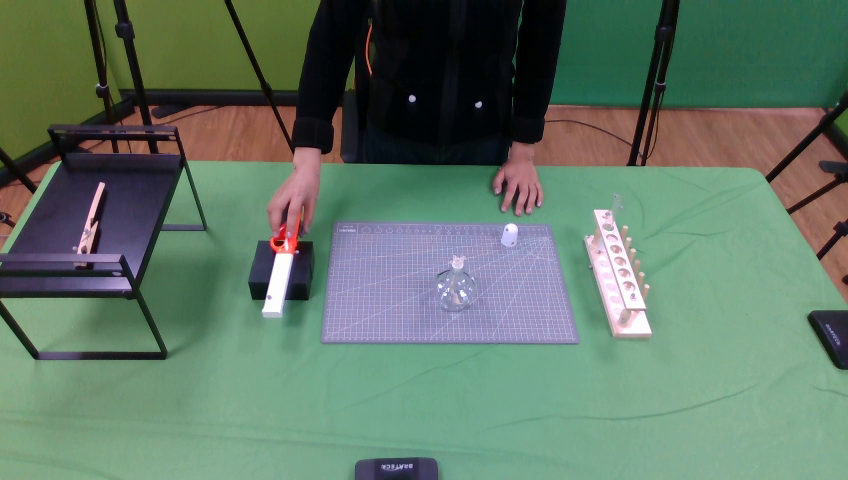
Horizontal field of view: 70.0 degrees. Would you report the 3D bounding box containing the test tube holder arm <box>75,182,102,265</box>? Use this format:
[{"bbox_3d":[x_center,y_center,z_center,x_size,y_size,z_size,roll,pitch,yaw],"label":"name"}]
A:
[{"bbox_3d":[-0.518,-0.030,0.937,0.013,0.015,0.177,25,33,-37],"label":"test tube holder arm"}]

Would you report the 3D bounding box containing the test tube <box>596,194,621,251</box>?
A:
[{"bbox_3d":[0.346,-0.029,1.141,0.017,0.151,0.017,0,50,0],"label":"test tube"}]

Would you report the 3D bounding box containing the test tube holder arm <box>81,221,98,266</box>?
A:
[{"bbox_3d":[-0.503,0.004,0.910,0.010,0.015,0.087,26,32,-36],"label":"test tube holder arm"}]

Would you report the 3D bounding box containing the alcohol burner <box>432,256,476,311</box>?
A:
[{"bbox_3d":[0.055,0.070,1.068,0.078,0.119,0.077,3,45,-3],"label":"alcohol burner"}]

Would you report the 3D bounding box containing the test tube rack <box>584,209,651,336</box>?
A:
[{"bbox_3d":[0.365,0.056,1.129,0.067,0.085,0.240,0,46,-3],"label":"test tube rack"}]

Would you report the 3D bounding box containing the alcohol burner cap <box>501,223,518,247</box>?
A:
[{"bbox_3d":[0.172,-0.013,1.207,0.034,0.048,0.033,1,45,-1],"label":"alcohol burner cap"}]

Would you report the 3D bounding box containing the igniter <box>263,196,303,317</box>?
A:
[{"bbox_3d":[-0.253,0.020,1.090,0.057,0.025,0.274,-1,49,0],"label":"igniter"}]
